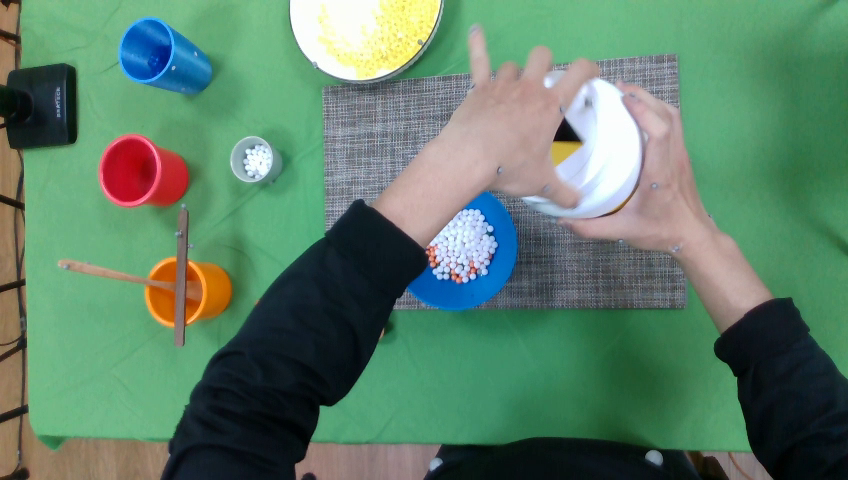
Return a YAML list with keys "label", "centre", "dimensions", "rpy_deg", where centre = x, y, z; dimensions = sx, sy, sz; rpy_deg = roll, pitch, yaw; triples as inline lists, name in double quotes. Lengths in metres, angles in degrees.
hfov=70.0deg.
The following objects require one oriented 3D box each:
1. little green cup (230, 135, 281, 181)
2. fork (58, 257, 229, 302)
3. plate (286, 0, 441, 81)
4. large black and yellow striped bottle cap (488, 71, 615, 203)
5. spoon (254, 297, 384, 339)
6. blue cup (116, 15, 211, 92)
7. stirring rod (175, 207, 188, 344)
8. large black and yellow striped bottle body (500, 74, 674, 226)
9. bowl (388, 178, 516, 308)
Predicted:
- label: "little green cup"
  centre: [-0.226, -0.108, 0.820]
  dimensions: [0.061, 0.039, 0.061]
  rpy_deg: [0, 89, 14]
- label: "fork"
  centre: [-0.360, 0.051, 0.790]
  dimensions: [0.209, 0.018, 0.028]
  rpy_deg: [16, 95, -30]
- label: "plate"
  centre: [-0.077, -0.308, 0.790]
  dimensions: [0.208, 0.038, 0.209]
  rpy_deg: [0, 89, 13]
- label: "large black and yellow striped bottle cap"
  centre: [0.108, -0.090, 0.532]
  dimensions: [0.114, 0.019, 0.115]
  rpy_deg: [-3, 86, 37]
- label: "spoon"
  centre: [-0.142, 0.096, 0.804]
  dimensions: [0.193, 0.021, 0.042]
  rpy_deg: [9, 104, 12]
- label: "blue cup"
  centre: [-0.342, -0.242, 0.817]
  dimensions: [0.092, 0.100, 0.092]
  rpy_deg: [0, 89, 15]
- label: "stirring rod"
  centre: [-0.310, 0.046, 0.776]
  dimensions: [0.014, 0.006, 0.176]
  rpy_deg: [0, 89, 12]
- label: "large black and yellow striped bottle body"
  centre: [0.158, -0.085, 0.600]
  dimensions: [0.130, 0.185, 0.130]
  rpy_deg: [-3, 85, 37]
- label: "bowl"
  centre: [0.039, 0.004, 0.732]
  dimensions: [0.151, 0.077, 0.151]
  rpy_deg: [0, 89, 13]
